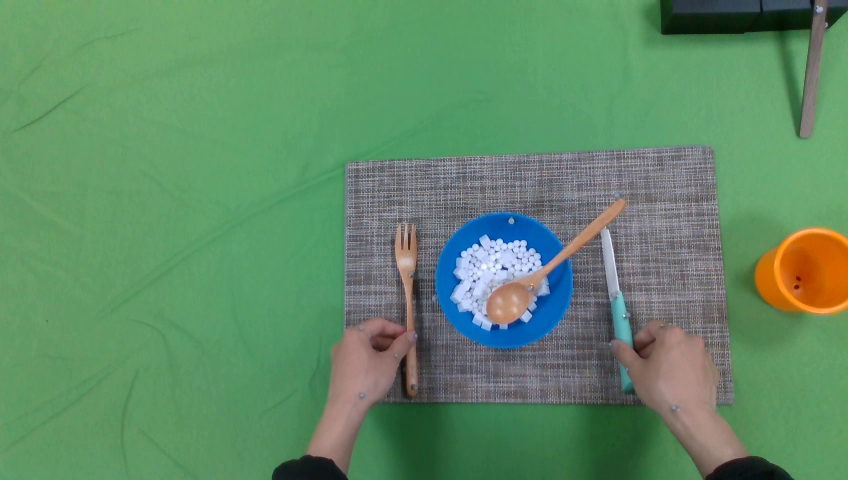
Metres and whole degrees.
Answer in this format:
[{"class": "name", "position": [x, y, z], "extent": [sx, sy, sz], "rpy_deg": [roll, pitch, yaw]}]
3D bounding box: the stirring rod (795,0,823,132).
[{"class": "stirring rod", "position": [0.451, -0.215, 0.706], "extent": [0.014, 0.006, 0.176], "rpy_deg": [0, 101, 3]}]

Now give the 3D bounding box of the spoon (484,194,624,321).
[{"class": "spoon", "position": [0.141, 0.019, 0.656], "extent": [0.194, 0.021, 0.041], "rpy_deg": [-43, 84, 17]}]

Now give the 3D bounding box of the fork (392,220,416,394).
[{"class": "fork", "position": [-0.021, 0.079, 0.727], "extent": [0.028, 0.018, 0.206], "rpy_deg": [0, 78, -20]}]

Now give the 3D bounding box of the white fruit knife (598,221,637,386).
[{"class": "white fruit knife", "position": [0.221, 0.064, 0.702], "extent": [0.016, 0.027, 0.206], "rpy_deg": [-4, 79, -18]}]

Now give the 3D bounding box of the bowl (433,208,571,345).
[{"class": "bowl", "position": [0.088, 0.045, 0.692], "extent": [0.151, 0.077, 0.151], "rpy_deg": [-1, 80, 6]}]
